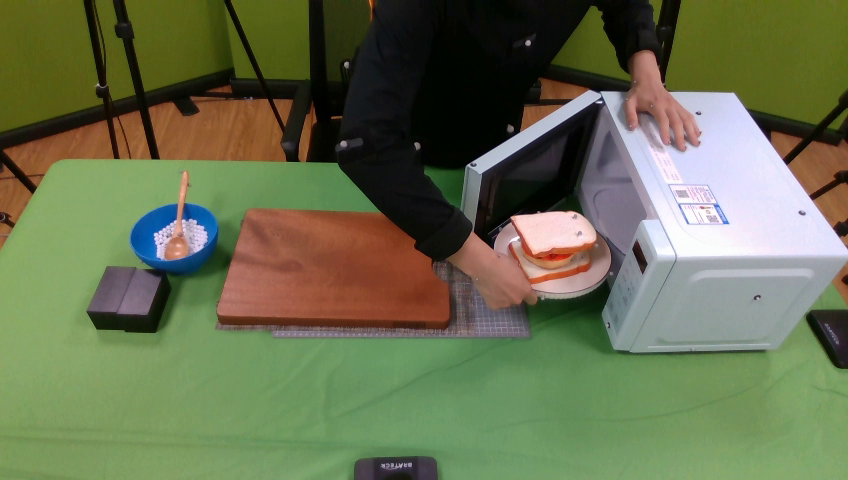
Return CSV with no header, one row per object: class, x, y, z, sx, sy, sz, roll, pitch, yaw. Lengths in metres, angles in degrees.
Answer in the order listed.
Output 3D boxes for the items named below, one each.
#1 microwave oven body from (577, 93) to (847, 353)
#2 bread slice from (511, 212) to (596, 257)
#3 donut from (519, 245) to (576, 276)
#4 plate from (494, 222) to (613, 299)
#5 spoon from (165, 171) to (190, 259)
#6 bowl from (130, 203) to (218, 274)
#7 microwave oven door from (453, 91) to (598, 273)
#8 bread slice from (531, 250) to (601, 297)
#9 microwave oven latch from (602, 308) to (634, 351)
microwave oven body,0.475,-0.041,1.109,0.326,0.261,0.438,-1,45,-4
bread slice,0.225,-0.013,1.041,0.134,0.018,0.106,-7,40,-16
donut,0.216,0.028,1.055,0.099,0.048,0.098,-8,25,4
plate,0.228,0.032,1.080,0.208,0.039,0.206,-1,42,1
spoon,-0.452,-0.046,1.129,0.041,0.022,0.193,-1,69,-3
bowl,-0.451,0.009,1.116,0.151,0.077,0.150,3,45,-3
microwave oven door,0.198,-0.115,1.153,0.356,0.245,0.039,-34,57,-31
bread slice,0.248,0.053,1.086,0.131,0.019,0.104,-12,34,6
microwave oven latch,0.332,0.153,1.044,0.030,0.029,0.078,-1,45,-4
